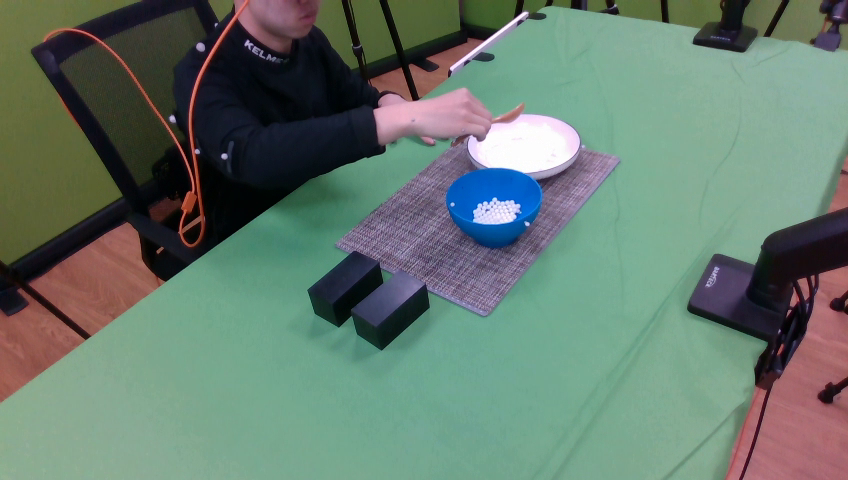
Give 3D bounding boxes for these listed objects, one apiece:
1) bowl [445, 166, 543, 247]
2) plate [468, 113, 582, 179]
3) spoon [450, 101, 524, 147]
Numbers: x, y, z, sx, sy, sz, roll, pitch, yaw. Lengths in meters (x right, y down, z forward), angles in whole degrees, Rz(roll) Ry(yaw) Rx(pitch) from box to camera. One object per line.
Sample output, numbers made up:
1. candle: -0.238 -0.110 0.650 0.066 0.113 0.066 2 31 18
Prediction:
1. bowl: 0.112 -0.042 0.952 0.151 0.077 0.150 -4 41 4
2. plate: 0.186 -0.169 1.122 0.207 0.039 0.206 -4 40 4
3. spoon: 0.106 -0.190 0.997 0.195 0.041 0.021 -29 76 -35
